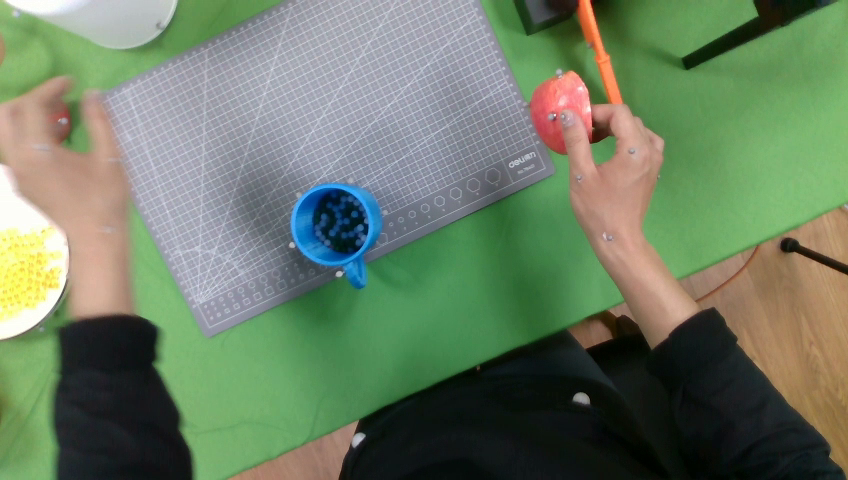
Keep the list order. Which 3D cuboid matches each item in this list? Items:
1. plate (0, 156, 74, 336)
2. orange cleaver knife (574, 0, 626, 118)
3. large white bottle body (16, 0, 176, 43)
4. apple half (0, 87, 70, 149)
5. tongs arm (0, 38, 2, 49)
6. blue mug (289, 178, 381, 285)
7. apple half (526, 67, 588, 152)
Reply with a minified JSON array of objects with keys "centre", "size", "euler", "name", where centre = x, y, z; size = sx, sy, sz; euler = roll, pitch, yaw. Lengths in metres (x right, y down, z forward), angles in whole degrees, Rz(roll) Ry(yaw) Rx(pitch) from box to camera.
[{"centre":[-0.495,0.004,0.683],"size":[0.209,0.038,0.209],"euler":[0,97,0],"name":"plate"},{"centre":[0.173,-0.228,0.635],"size":[0.012,0.076,0.213],"euler":[-23,122,11],"name":"orange cleaver knife"},{"centre":[-0.334,-0.275,0.579],"size":[0.130,0.184,0.130],"euler":[0,95,1],"name":"large white bottle body"},{"centre":[-0.422,-0.126,0.651],"size":[0.081,0.074,0.053],"euler":[-21,99,-2],"name":"apple half"},{"centre":[-0.636,-0.198,0.629],"size":[0.385,0.026,0.051],"euler":[4,92,2],"name":"tongs arm"},{"centre":[-0.086,-0.008,0.645],"size":[0.082,0.105,0.116],"euler":[-17,96,2],"name":"blue mug"},{"centre":[0.116,-0.117,0.558],"size":[0.033,0.081,0.081],"euler":[-17,96,-23],"name":"apple half"}]
